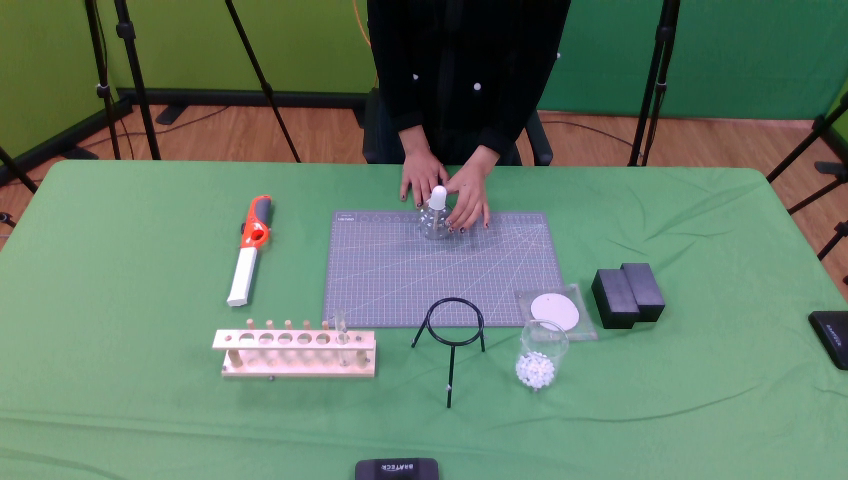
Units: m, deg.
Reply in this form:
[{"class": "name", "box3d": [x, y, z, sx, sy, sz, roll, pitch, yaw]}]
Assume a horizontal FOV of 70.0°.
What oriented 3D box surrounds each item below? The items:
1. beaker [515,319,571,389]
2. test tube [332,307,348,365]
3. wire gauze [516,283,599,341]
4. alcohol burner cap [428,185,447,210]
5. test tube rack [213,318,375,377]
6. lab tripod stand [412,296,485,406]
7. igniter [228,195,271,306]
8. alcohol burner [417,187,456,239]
[{"class": "beaker", "box3d": [0.186, 0.186, 0.980, 0.074, 0.101, 0.083, -23, 51, -24]}, {"class": "test tube", "box3d": [-0.128, 0.151, 0.931, 0.017, 0.151, 0.017, 1, 50, -2]}, {"class": "wire gauze", "box3d": [0.240, 0.131, 1.094, 0.125, 0.011, 0.120, -3, 47, -8]}, {"class": "alcohol burner cap", "box3d": [0.028, -0.085, 1.164, 0.034, 0.048, 0.033, 7, 46, -7]}, {"class": "test tube rack", "box3d": [-0.202, 0.169, 0.977, 0.242, 0.085, 0.066, 1, 46, -3]}, {"class": "lab tripod stand", "box3d": [0.045, 0.168, 0.963, 0.148, 0.132, 0.147, 3, 47, -3]}, {"class": "igniter", "box3d": [-0.332, 0.011, 1.160, 0.057, 0.025, 0.274, -6, 46, 5]}, {"class": "alcohol burner", "box3d": [0.026, -0.059, 1.189, 0.078, 0.120, 0.077, 1, 48, -1]}]
